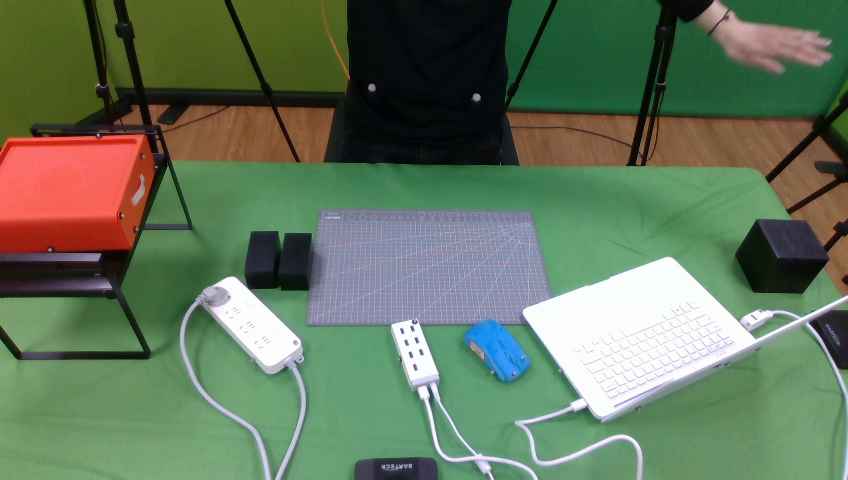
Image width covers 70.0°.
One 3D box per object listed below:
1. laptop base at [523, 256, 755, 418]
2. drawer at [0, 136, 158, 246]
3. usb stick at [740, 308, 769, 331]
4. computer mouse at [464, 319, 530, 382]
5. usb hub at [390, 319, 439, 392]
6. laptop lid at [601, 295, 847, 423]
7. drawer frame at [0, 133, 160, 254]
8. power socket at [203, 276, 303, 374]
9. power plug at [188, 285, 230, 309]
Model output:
[{"bbox_3d":[0.381,0.159,1.077,0.355,0.023,0.234,-17,47,-20],"label":"laptop base"},{"bbox_3d":[-0.545,-0.076,0.941,0.212,0.073,0.193,-2,47,-6],"label":"drawer"},{"bbox_3d":[0.587,0.145,1.088,0.059,0.027,0.021,-21,48,-17],"label":"usb stick"},{"bbox_3d":[0.124,0.182,1.023,0.063,0.041,0.116,-28,58,-29],"label":"computer mouse"},{"bbox_3d":[-0.016,0.190,1.013,0.049,0.025,0.124,-11,48,-15],"label":"usb hub"},{"bbox_3d":[0.449,0.180,0.905,0.357,0.242,0.013,-17,64,-20],"label":"laptop lid"},{"bbox_3d":[-0.547,-0.075,0.939,0.214,0.083,0.200,-3,47,-6],"label":"drawer frame"},{"bbox_3d":[-0.296,0.141,1.034,0.072,0.033,0.225,-35,58,-31],"label":"power socket"},{"bbox_3d":[-0.370,0.103,1.039,0.072,0.053,0.035,-26,54,-23],"label":"power plug"}]
